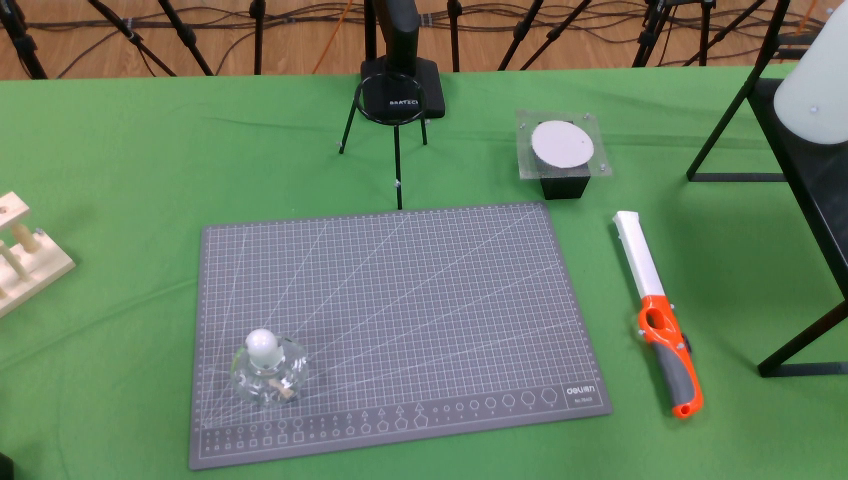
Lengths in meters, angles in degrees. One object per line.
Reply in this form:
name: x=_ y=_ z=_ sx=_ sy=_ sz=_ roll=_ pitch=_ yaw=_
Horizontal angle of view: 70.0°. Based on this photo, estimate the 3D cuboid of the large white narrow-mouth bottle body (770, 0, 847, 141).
large white narrow-mouth bottle body: x=0.454 y=-0.201 z=0.624 sx=0.102 sy=0.196 sz=0.101 roll=3 pitch=56 yaw=-4

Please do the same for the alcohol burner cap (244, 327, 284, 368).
alcohol burner cap: x=-0.156 y=0.102 z=0.582 sx=0.034 sy=0.048 sz=0.033 roll=1 pitch=62 yaw=-2

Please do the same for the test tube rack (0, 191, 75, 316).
test tube rack: x=-0.513 y=0.060 z=0.636 sx=0.066 sy=0.086 sz=0.242 roll=37 pitch=61 yaw=18

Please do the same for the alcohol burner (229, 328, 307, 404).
alcohol burner: x=-0.159 y=0.120 z=0.613 sx=0.078 sy=0.120 sz=0.077 roll=4 pitch=55 yaw=-5

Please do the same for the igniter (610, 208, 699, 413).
igniter: x=0.279 y=0.076 z=0.742 sx=0.057 sy=0.025 sz=0.274 roll=4 pitch=56 yaw=-16

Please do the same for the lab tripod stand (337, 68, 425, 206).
lab tripod stand: x=-0.046 y=-0.140 z=0.788 sx=0.148 sy=0.132 sz=0.147 roll=4 pitch=57 yaw=-5

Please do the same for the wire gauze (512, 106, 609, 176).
wire gauze: x=0.182 y=-0.135 z=0.824 sx=0.121 sy=0.011 sz=0.124 roll=2 pitch=56 yaw=-4
